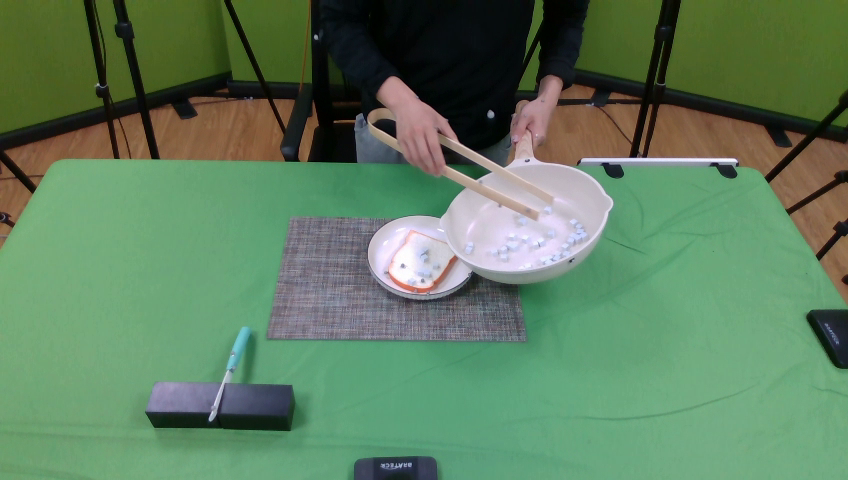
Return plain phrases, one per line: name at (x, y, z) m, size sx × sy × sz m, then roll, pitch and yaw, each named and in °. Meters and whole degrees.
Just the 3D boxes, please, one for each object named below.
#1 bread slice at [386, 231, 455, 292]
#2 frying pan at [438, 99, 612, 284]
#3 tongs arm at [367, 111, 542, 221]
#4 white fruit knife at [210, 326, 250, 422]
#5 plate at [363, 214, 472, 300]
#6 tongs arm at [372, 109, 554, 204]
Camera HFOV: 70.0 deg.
bread slice at (-0.007, 0.043, 1.142) m, size 0.107 × 0.018 × 0.134 m, roll 18°, pitch 45°, yaw 14°
frying pan at (0.191, -0.111, 1.152) m, size 0.306 × 0.103 × 0.485 m, roll -5°, pitch 51°, yaw 15°
tongs arm at (0.047, -0.139, 1.093) m, size 0.383 × 0.026 × 0.050 m, roll 27°, pitch 60°, yaw 18°
white fruit knife at (-0.301, 0.201, 0.942) m, size 0.016 × 0.027 × 0.206 m, roll 0°, pitch 32°, yaw -1°
plate at (-0.010, 0.036, 1.146) m, size 0.208 × 0.039 × 0.206 m, roll 3°, pitch 46°, yaw -2°
tongs arm at (0.065, -0.158, 1.107) m, size 0.386 × 0.028 × 0.028 m, roll 30°, pitch 64°, yaw 20°
